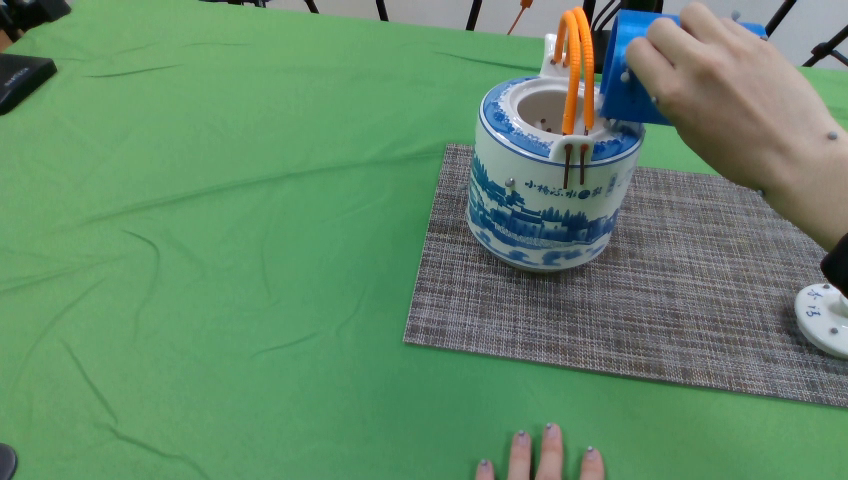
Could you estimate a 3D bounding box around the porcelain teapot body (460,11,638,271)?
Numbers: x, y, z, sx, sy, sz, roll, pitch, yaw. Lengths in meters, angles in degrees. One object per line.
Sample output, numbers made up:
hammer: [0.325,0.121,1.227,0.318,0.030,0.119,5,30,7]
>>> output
porcelain teapot body: [0.113,-0.109,0.564,0.145,0.227,0.203,2,44,-1]

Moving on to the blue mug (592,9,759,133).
blue mug: [0.187,-0.128,0.457,0.105,0.082,0.116,9,14,9]

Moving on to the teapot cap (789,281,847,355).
teapot cap: [0.369,0.064,0.535,0.085,0.044,0.084,4,43,-3]
